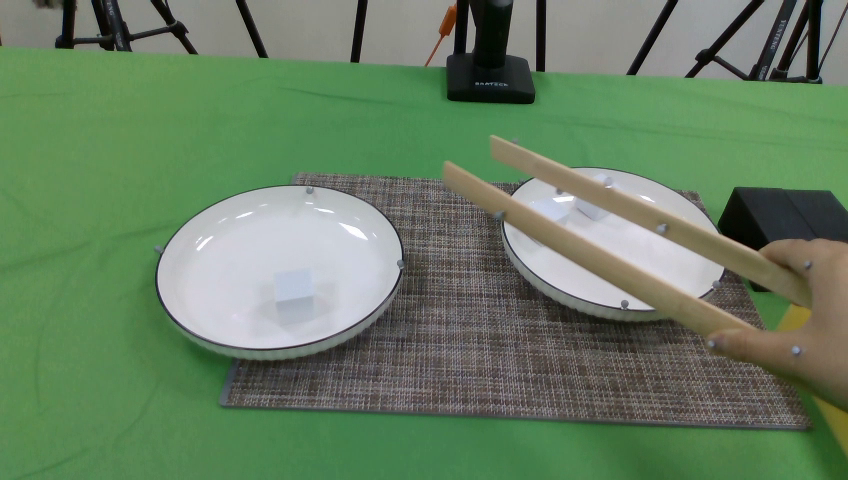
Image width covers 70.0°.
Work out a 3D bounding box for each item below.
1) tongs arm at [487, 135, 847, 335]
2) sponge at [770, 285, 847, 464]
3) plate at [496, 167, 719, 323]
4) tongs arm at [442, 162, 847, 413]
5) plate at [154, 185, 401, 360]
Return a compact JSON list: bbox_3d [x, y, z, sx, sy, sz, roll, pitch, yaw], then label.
[{"bbox_3d":[0.181,0.012,0.421,0.381,0.027,0.051,31,51,32],"label":"tongs arm"},{"bbox_3d":[0.370,0.128,0.449,0.118,0.061,0.204,0,42,-4],"label":"sponge"},{"bbox_3d":[0.171,0.005,0.583,0.208,0.039,0.205,2,42,-2],"label":"plate"},{"bbox_3d":[0.156,0.029,0.404,0.384,0.028,0.028,31,48,32],"label":"tongs arm"},{"bbox_3d":[-0.124,0.027,0.535,0.209,0.038,0.207,2,41,-2],"label":"plate"}]
